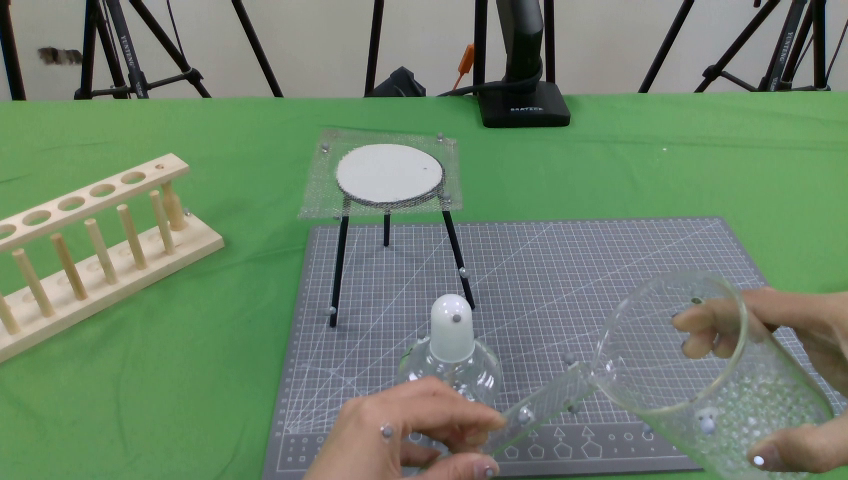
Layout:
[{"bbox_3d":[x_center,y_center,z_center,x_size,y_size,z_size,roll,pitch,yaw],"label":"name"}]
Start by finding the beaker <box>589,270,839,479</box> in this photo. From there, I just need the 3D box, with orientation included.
[{"bbox_3d":[0.141,0.075,0.293,0.101,0.084,0.073,39,36,-23],"label":"beaker"}]

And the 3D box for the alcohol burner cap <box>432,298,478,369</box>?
[{"bbox_3d":[0.021,0.060,0.411,0.034,0.048,0.033,-2,38,2],"label":"alcohol burner cap"}]

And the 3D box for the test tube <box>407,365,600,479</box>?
[{"bbox_3d":[0.032,0.112,0.328,0.017,0.150,0.017,36,28,-23],"label":"test tube"}]

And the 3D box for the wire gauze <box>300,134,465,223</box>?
[{"bbox_3d":[-0.030,-0.052,0.487,0.121,0.011,0.124,1,39,-1],"label":"wire gauze"}]

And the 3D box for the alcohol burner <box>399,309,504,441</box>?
[{"bbox_3d":[0.020,0.089,0.434,0.078,0.120,0.077,1,40,0],"label":"alcohol burner"}]

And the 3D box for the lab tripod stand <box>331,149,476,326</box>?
[{"bbox_3d":[-0.021,-0.001,0.531,0.148,0.132,0.147,1,37,-1],"label":"lab tripod stand"}]

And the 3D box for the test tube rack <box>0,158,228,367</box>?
[{"bbox_3d":[-0.310,0.017,0.549,0.066,0.086,0.242,31,47,33],"label":"test tube rack"}]
